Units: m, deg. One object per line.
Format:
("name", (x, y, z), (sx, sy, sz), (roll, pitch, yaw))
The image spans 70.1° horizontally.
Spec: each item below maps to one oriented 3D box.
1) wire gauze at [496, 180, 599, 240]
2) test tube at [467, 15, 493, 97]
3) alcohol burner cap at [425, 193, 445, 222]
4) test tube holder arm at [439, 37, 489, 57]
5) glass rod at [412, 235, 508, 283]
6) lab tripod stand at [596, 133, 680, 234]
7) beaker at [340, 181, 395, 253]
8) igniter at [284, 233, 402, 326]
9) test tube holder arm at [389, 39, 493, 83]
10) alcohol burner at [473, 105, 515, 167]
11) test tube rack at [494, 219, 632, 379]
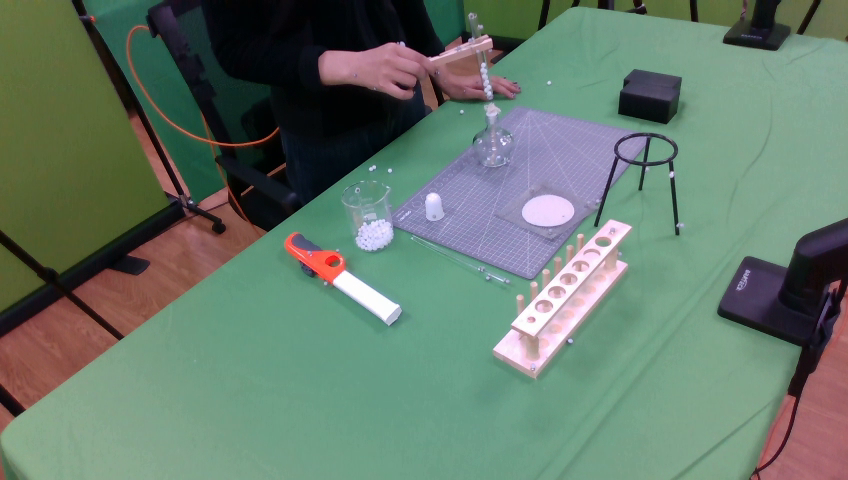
("wire gauze", (0.206, -0.050, 1.012), (0.125, 0.011, 0.120), (-34, 45, -26))
("test tube", (0.095, -0.304, 1.011), (0.017, 0.151, 0.017), (-11, 44, 11))
("alcohol burner cap", (0.017, -0.058, 1.029), (0.034, 0.048, 0.033), (-6, 40, 5))
("test tube holder arm", (0.067, -0.312, 0.997), (0.088, 0.015, 0.010), (-25, 40, -9))
("glass rod", (0.051, 0.028, 0.951), (0.198, 0.008, 0.008), (25, 52, 37))
("lab tripod stand", (0.338, -0.090, 0.940), (0.148, 0.132, 0.147), (-7, 39, 6))
("beaker", (-0.086, -0.037, 0.985), (0.084, 0.101, 0.073), (-18, 41, -11))
("igniter", (-0.136, 0.054, 0.942), (0.274, 0.025, 0.057), (30, 64, 37))
("test tube holder arm", (0.027, -0.292, 0.988), (0.178, 0.015, 0.013), (-21, 39, -3))
("alcohol burner", (0.128, -0.196, 1.116), (0.078, 0.119, 0.077), (-4, 40, 4))
("test tube rack", (0.191, 0.068, 0.818), (0.066, 0.085, 0.243), (25, 51, 35))
